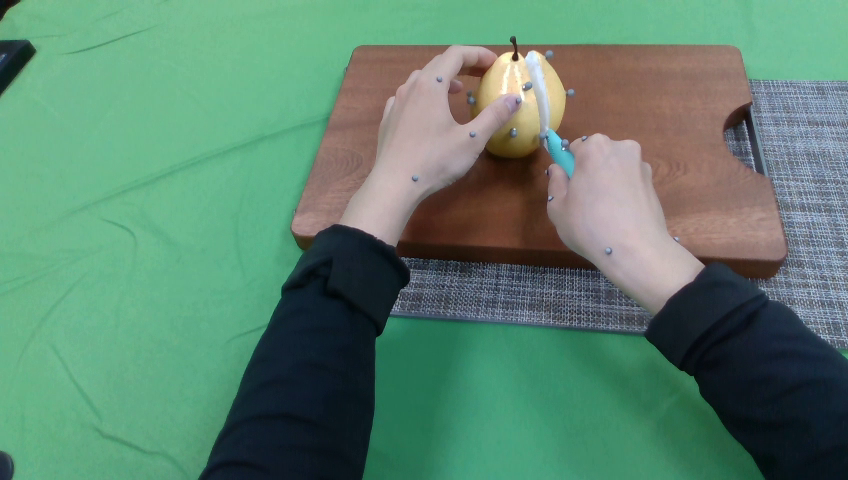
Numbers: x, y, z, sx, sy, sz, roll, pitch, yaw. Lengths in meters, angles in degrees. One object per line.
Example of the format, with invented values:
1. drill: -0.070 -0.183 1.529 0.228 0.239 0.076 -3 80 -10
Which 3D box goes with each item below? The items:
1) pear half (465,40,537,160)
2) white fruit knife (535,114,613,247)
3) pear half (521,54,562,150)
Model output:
1. pear half: 0.063 -0.119 0.516 0.056 0.111 0.075 -20 49 -7
2. white fruit knife: 0.105 -0.078 0.507 0.016 0.028 0.205 -14 51 -11
3. pear half: 0.103 -0.123 0.528 0.031 0.089 0.069 -18 49 -15
